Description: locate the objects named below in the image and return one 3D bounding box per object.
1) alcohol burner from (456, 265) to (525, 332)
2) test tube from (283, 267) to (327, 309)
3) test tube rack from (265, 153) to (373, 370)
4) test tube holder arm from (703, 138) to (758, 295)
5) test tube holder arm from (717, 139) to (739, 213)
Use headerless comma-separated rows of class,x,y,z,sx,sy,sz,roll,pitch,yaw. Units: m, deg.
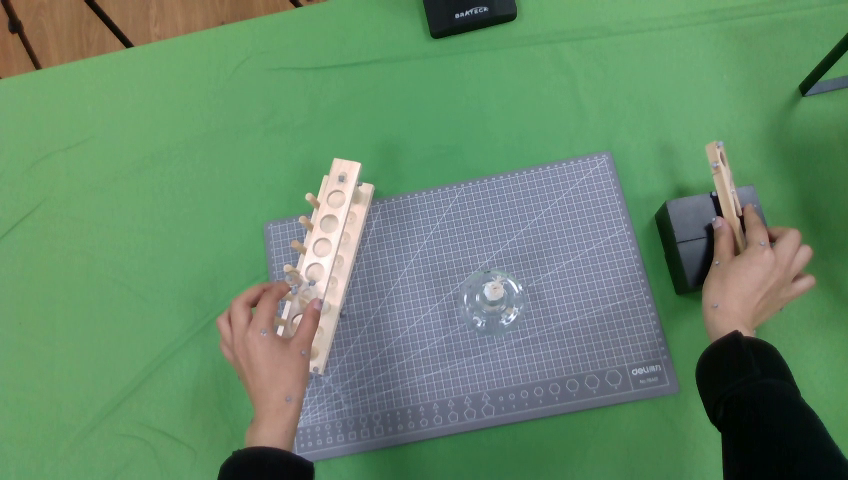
alcohol burner,0.074,0.061,0.669,0.078,0.120,0.077,-1,74,4
test tube,-0.126,0.054,0.653,0.017,0.151,0.017,-1,73,2
test tube rack,-0.129,0.024,0.713,0.066,0.086,0.241,12,77,9
test tube holder arm,0.335,-0.028,0.663,0.013,0.015,0.177,1,73,-27
test tube holder arm,0.335,-0.070,0.677,0.010,0.015,0.087,2,73,-27
